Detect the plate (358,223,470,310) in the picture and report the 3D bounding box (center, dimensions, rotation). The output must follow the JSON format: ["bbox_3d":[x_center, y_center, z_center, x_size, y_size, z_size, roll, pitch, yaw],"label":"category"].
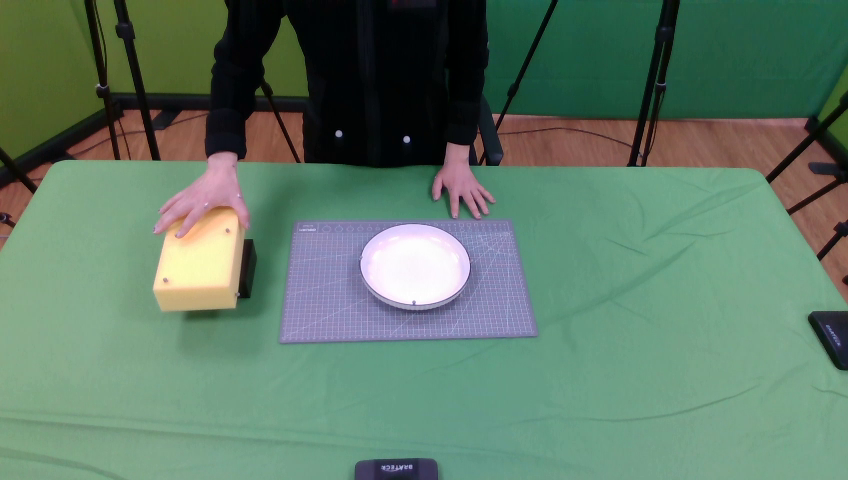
[{"bbox_3d":[-0.019,0.052,1.132,0.209,0.038,0.208,2,46,-2],"label":"plate"}]

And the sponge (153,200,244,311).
[{"bbox_3d":[-0.384,0.022,1.051,0.118,0.061,0.205,-3,47,-7],"label":"sponge"}]
